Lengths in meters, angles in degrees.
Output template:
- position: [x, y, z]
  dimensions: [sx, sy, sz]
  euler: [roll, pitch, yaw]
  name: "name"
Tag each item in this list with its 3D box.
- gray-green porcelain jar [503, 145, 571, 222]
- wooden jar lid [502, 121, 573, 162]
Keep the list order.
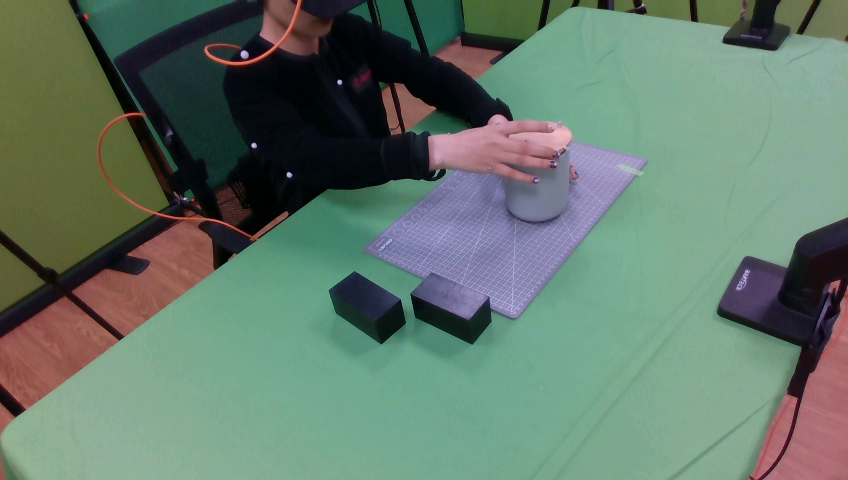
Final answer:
- position: [0.184, -0.102, 0.983]
  dimensions: [0.106, 0.127, 0.105]
  euler: [-5, 40, 5]
  name: "gray-green porcelain jar"
- position: [0.176, -0.151, 0.940]
  dimensions: [0.108, 0.021, 0.108]
  euler: [-6, 37, 5]
  name: "wooden jar lid"
